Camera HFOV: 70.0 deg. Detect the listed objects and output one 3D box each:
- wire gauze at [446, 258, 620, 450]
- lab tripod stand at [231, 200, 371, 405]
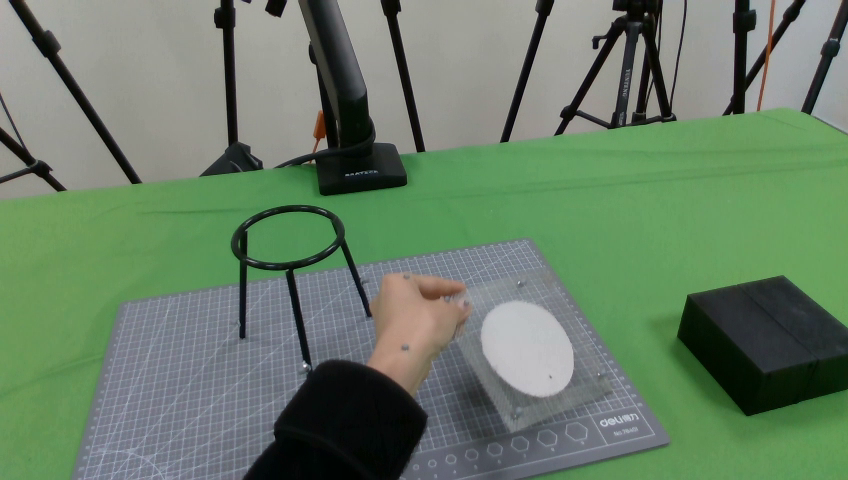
[{"bbox_3d":[0.089,0.082,0.480,0.125,0.011,0.121,51,46,5],"label":"wire gauze"},{"bbox_3d":[-0.105,0.046,0.521,0.148,0.132,0.147,0,35,0],"label":"lab tripod stand"}]
